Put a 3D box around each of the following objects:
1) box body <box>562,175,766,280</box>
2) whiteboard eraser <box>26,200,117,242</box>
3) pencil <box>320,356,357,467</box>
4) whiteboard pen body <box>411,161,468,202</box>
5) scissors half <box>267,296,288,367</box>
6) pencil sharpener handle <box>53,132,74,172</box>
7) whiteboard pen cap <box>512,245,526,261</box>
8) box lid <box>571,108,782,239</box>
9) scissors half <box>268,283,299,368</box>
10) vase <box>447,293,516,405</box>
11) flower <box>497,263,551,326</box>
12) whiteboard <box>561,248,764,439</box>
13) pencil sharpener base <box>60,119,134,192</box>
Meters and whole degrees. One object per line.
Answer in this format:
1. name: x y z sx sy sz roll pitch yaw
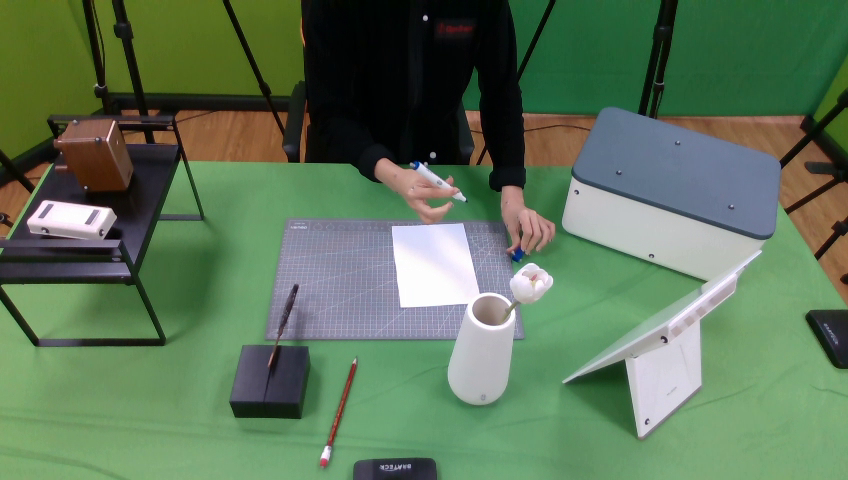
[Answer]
1. box body: 0.486 -0.088 1.222 0.363 0.161 0.253 20 48 15
2. whiteboard eraser: -0.532 -0.026 0.919 0.113 0.042 0.055 7 45 3
3. pencil: -0.130 0.261 0.946 0.012 0.012 0.193 10 45 5
4. whiteboard pen body: 0.029 -0.095 1.015 0.141 0.017 0.017 30 30 -40
5. scissors half: -0.239 0.150 0.997 0.013 0.040 0.174 24 24 -13
6. pencil sharpener handle: -0.578 -0.138 0.961 0.031 0.068 0.036 -4 34 -7
7. whiteboard pen cap: 0.183 0.026 1.175 0.018 0.018 0.033 28 59 21
8. box lid: 0.491 -0.139 1.168 0.370 0.015 0.262 20 49 15
9. scissors half: -0.230 0.135 0.986 0.013 0.040 0.174 19 43 -11
10. vase: 0.091 0.169 0.921 0.098 0.201 0.097 3 47 -3
11. flower: 0.103 0.121 0.853 0.044 0.363 0.038 -1 64 -9
12. whiteboard: 0.386 0.176 0.905 0.217 0.306 0.143 -26 72 -27
13. pencil sharpener base: -0.528 -0.135 0.979 0.077 0.107 0.061 -4 47 -7
